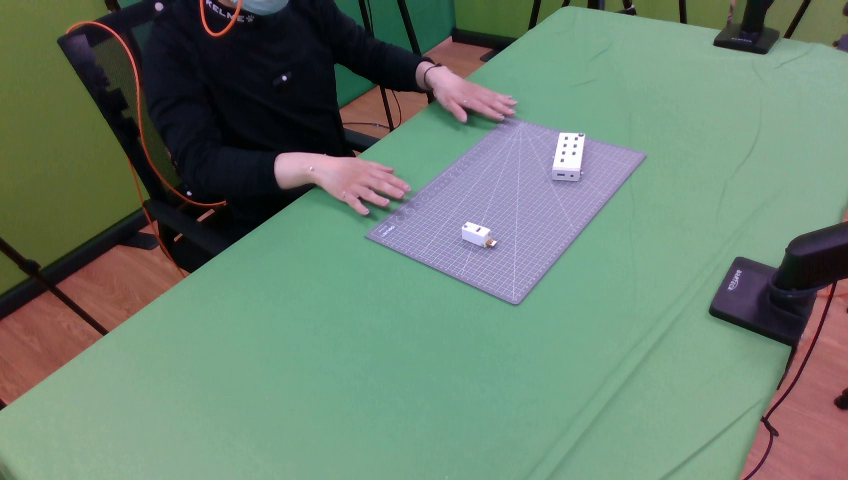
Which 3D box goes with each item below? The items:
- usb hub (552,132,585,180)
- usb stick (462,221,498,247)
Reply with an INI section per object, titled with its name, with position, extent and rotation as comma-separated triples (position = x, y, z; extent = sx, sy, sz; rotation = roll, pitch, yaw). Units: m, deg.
[usb hub]
position = 0.266, -0.154, 1.103
extent = 0.049, 0.025, 0.125
rotation = 6, 43, 15
[usb stick]
position = 0.089, -0.007, 0.956
extent = 0.059, 0.027, 0.021
rotation = 24, 48, 28
